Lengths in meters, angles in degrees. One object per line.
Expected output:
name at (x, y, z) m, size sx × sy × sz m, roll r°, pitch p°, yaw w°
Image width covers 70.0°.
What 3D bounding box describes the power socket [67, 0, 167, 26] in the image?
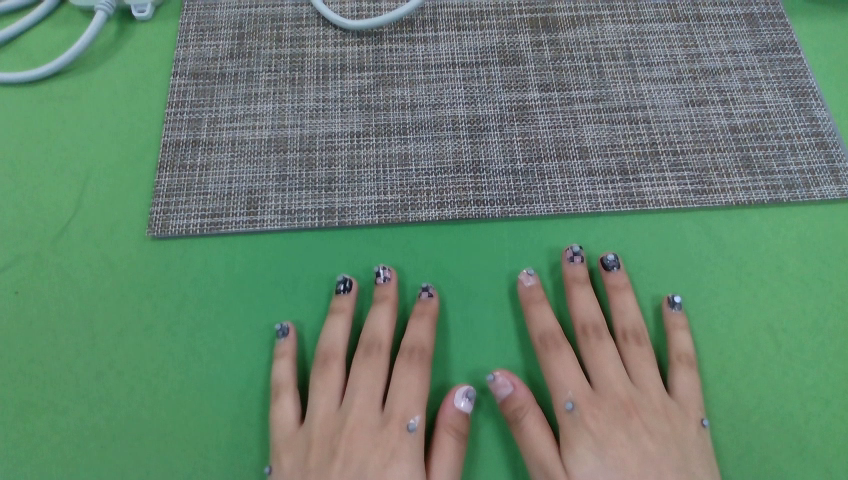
power socket at (-0.233, -0.266, 0.484) m, size 0.072 × 0.033 × 0.225 m, roll -3°, pitch 64°, yaw -1°
